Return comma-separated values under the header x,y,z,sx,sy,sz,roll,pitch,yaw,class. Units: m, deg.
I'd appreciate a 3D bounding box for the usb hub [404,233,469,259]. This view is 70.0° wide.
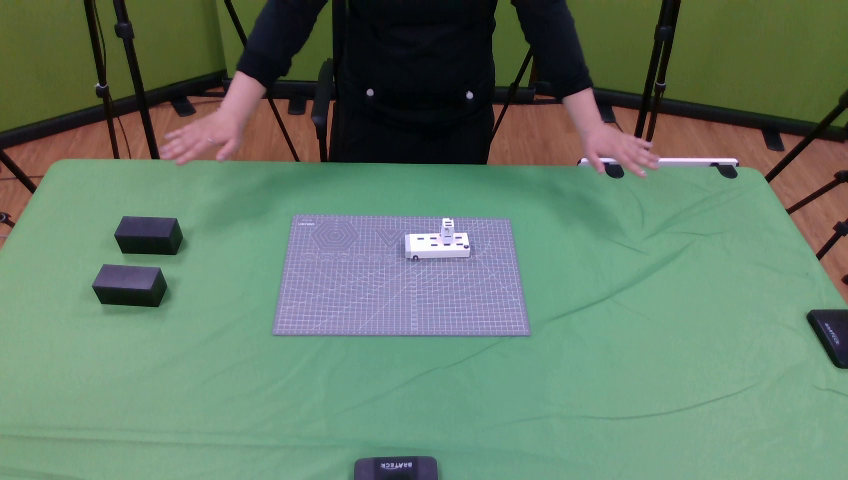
x,y,z,sx,sy,sz,roll,pitch,yaw,class
0.024,0.012,1.181,0.125,0.025,0.049,-2,47,-5,usb hub

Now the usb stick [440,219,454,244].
x,y,z,sx,sy,sz,roll,pitch,yaw,class
0.043,-0.011,1.166,0.021,0.059,0.027,-3,48,-8,usb stick
